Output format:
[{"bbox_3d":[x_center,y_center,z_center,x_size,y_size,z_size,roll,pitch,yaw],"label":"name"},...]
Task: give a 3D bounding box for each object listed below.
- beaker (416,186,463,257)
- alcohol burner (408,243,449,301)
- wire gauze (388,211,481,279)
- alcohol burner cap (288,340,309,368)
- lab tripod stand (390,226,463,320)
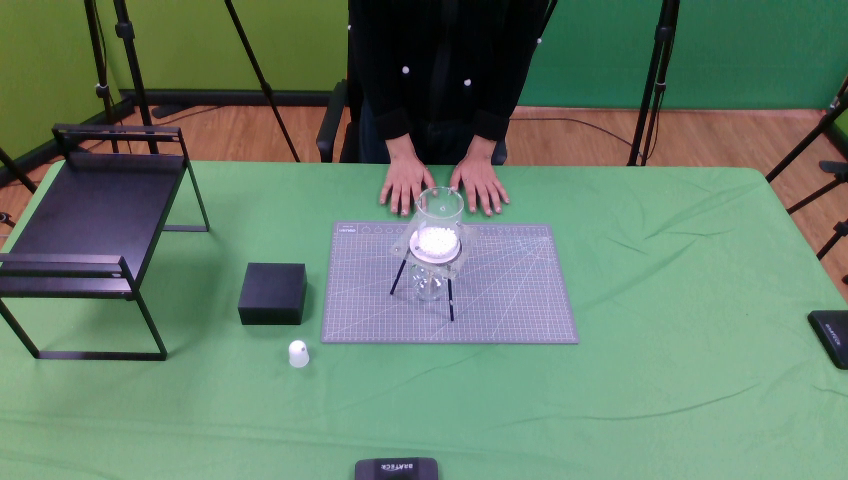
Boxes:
[{"bbox_3d":[0.024,-0.029,0.984,0.074,0.101,0.083,19,48,14],"label":"beaker"},{"bbox_3d":[0.010,0.052,1.078,0.078,0.120,0.077,1,45,-1],"label":"alcohol burner"},{"bbox_3d":[0.018,0.003,1.020,0.125,0.011,0.121,20,47,18],"label":"wire gauze"},{"bbox_3d":[-0.207,0.183,0.991,0.034,0.048,0.033,3,47,-2],"label":"alcohol burner cap"},{"bbox_3d":[0.014,0.053,1.063,0.148,0.132,0.147,1,48,-1],"label":"lab tripod stand"}]
